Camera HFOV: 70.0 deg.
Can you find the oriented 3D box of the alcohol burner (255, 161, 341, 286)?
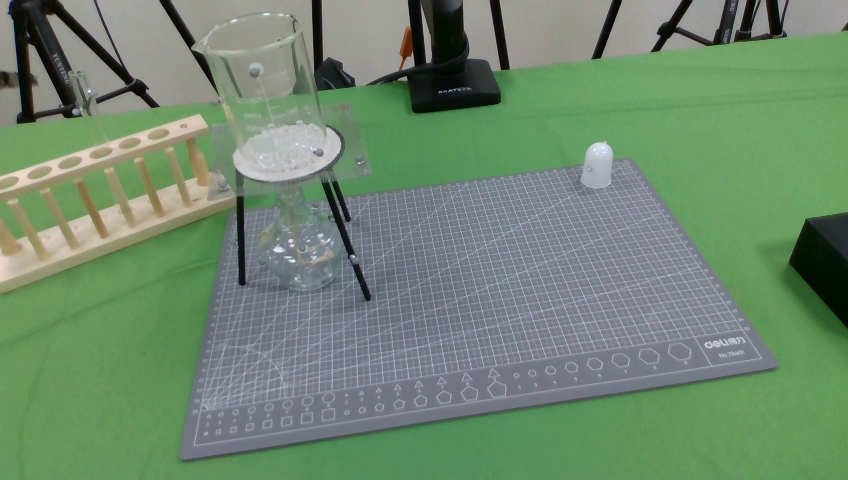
[{"bbox_3d":[-0.114,-0.017,0.538,0.078,0.120,0.077,-3,39,3],"label":"alcohol burner"}]

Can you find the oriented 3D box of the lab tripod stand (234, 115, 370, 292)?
[{"bbox_3d":[-0.109,-0.030,0.536,0.148,0.133,0.147,-3,43,4],"label":"lab tripod stand"}]

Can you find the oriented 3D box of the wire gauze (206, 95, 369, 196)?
[{"bbox_3d":[-0.114,-0.079,0.493,0.125,0.011,0.120,-14,40,-5],"label":"wire gauze"}]

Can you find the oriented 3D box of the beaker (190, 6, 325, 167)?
[{"bbox_3d":[-0.121,-0.113,0.458,0.084,0.101,0.073,-7,41,1],"label":"beaker"}]

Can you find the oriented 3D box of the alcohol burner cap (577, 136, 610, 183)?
[{"bbox_3d":[0.181,-0.088,0.641,0.034,0.048,0.033,-3,41,3],"label":"alcohol burner cap"}]

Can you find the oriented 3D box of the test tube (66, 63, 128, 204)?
[{"bbox_3d":[-0.326,-0.101,0.607,0.017,0.151,0.017,-1,35,1],"label":"test tube"}]

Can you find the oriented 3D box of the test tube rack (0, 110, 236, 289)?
[{"bbox_3d":[-0.329,-0.047,0.622,0.243,0.086,0.066,-24,44,-20],"label":"test tube rack"}]
